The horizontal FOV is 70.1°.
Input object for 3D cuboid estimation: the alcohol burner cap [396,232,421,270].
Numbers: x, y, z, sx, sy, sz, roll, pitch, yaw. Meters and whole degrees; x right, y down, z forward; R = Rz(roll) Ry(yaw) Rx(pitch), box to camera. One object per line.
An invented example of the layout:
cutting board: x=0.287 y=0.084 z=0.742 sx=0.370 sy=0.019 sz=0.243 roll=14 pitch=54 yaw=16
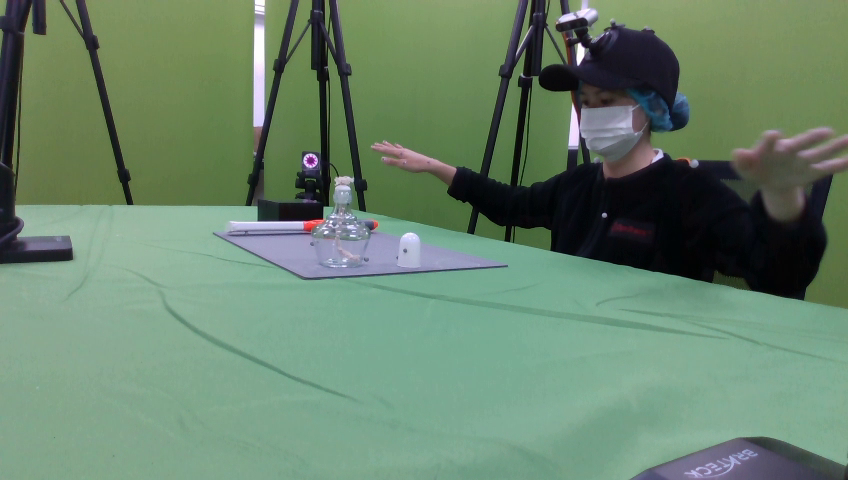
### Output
alcohol burner cap: x=-0.020 y=0.014 z=0.795 sx=0.034 sy=0.048 sz=0.034 roll=2 pitch=6 yaw=0

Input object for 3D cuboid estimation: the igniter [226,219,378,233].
igniter: x=-0.213 y=-0.025 z=1.092 sx=0.278 sy=0.025 sz=0.057 roll=-2 pitch=-2 yaw=-32

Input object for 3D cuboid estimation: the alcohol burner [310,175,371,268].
alcohol burner: x=-0.107 y=-0.024 z=0.778 sx=0.078 sy=0.119 sz=0.078 roll=3 pitch=5 yaw=0
